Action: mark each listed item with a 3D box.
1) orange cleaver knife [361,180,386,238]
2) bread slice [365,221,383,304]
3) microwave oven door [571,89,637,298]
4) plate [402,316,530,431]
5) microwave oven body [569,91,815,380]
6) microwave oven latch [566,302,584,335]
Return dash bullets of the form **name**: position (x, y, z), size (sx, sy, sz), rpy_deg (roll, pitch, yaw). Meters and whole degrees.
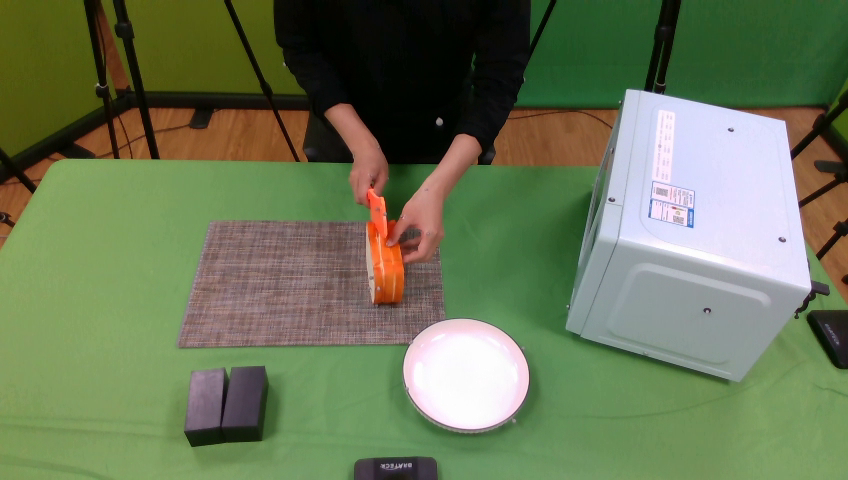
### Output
- **orange cleaver knife**: position (-0.092, -0.060, 1.094), size (0.012, 0.077, 0.210), rpy_deg (-6, 19, -14)
- **bread slice**: position (-0.091, 0.045, 1.083), size (0.018, 0.107, 0.133), rpy_deg (-5, 46, -10)
- **microwave oven door**: position (0.343, -0.091, 1.133), size (0.039, 0.245, 0.354), rpy_deg (15, 47, 10)
- **plate**: position (0.066, 0.217, 0.982), size (0.208, 0.039, 0.206), rpy_deg (2, 46, -2)
- **microwave oven body**: position (0.468, -0.022, 1.082), size (0.325, 0.261, 0.440), rpy_deg (15, 46, 11)
- **microwave oven latch**: position (0.268, 0.126, 1.059), size (0.030, 0.029, 0.079), rpy_deg (16, 46, 12)
